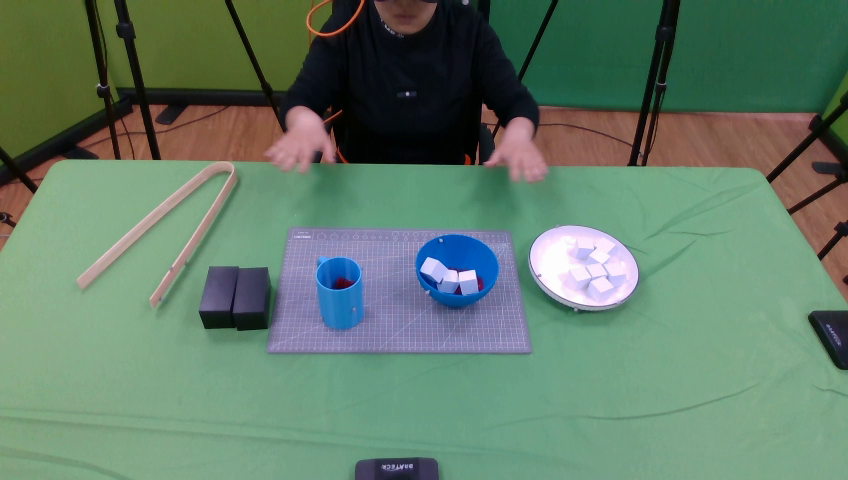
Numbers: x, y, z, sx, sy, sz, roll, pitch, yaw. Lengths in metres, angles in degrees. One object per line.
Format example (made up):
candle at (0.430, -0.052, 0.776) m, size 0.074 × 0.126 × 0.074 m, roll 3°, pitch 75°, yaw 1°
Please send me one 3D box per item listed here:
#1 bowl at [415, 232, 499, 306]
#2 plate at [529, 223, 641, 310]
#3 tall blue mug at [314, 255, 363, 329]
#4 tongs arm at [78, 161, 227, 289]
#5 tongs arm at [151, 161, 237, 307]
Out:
bowl at (0.057, 0.067, 1.093) m, size 0.151 × 0.077 × 0.150 m, roll 2°, pitch 46°, yaw -2°
plate at (0.303, 0.053, 1.156) m, size 0.209 × 0.038 × 0.208 m, roll 2°, pitch 46°, yaw -1°
tall blue mug at (-0.157, 0.085, 1.040) m, size 0.107 × 0.108 × 0.077 m, roll 23°, pitch 50°, yaw 18°
tongs arm at (-0.524, -0.043, 1.196) m, size 0.028 × 0.028 × 0.386 m, roll 15°, pitch 47°, yaw 22°
tongs arm at (-0.447, -0.026, 1.180) m, size 0.051 × 0.027 × 0.383 m, roll 8°, pitch 46°, yaw 10°
